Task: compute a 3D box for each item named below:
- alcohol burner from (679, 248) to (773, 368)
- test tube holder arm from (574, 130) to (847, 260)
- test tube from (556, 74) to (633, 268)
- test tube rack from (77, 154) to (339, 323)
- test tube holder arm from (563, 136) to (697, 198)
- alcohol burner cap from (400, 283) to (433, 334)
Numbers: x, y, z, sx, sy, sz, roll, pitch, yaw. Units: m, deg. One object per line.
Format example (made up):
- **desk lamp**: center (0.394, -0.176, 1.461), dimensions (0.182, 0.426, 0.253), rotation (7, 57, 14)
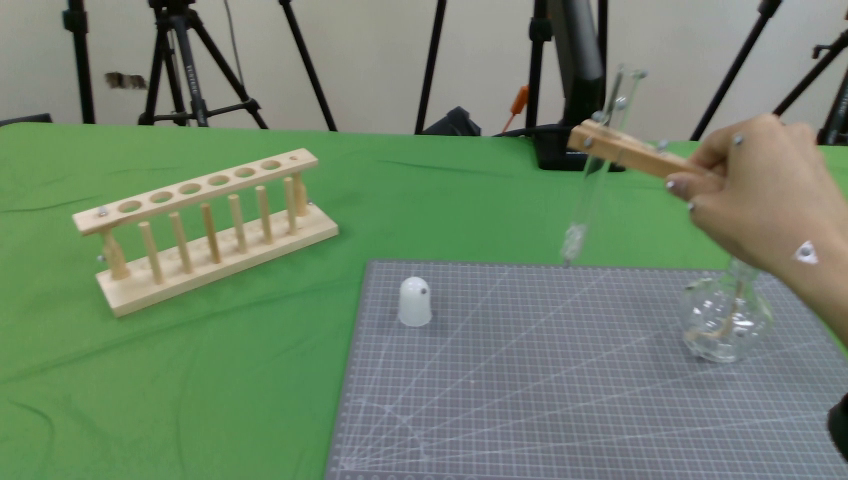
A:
- **alcohol burner**: center (0.268, 0.054, 0.528), dimensions (0.078, 0.120, 0.077), rotation (1, 38, 0)
- **test tube holder arm**: center (0.174, -0.033, 0.384), dimensions (0.177, 0.015, 0.013), rotation (29, 44, 28)
- **test tube**: center (0.116, -0.042, 0.425), dimensions (0.017, 0.151, 0.017), rotation (6, 35, -3)
- **test tube rack**: center (-0.214, -0.009, 0.637), dimensions (0.243, 0.086, 0.066), rotation (-22, 41, -29)
- **test tube holder arm**: center (0.135, -0.049, 0.399), dimensions (0.087, 0.015, 0.010), rotation (23, 41, 22)
- **alcohol burner cap**: center (-0.008, 0.062, 0.574), dimensions (0.034, 0.048, 0.033), rotation (1, 36, 0)
